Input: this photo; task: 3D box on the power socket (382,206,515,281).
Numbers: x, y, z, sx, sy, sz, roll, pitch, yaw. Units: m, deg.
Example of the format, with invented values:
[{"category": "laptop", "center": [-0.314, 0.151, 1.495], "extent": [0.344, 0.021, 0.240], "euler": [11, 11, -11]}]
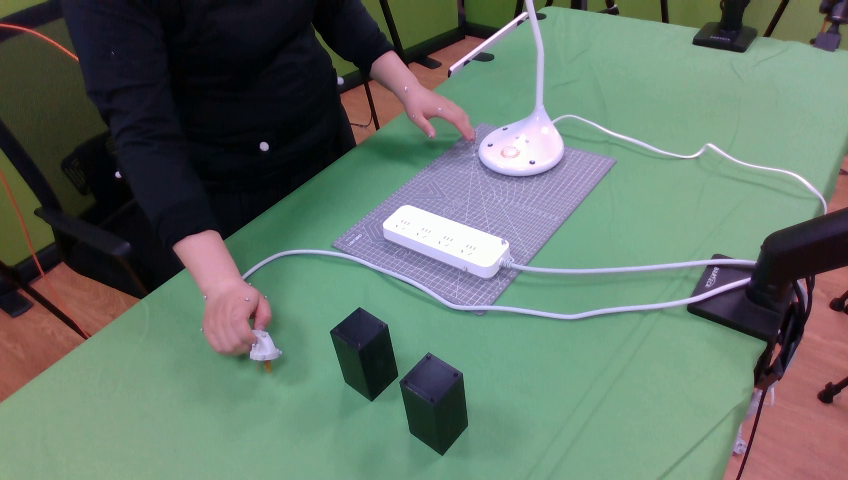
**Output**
[{"category": "power socket", "center": [0.032, 0.002, 0.950], "extent": [0.225, 0.033, 0.072], "euler": [21, 49, 29]}]

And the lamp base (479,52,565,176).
[{"category": "lamp base", "center": [0.182, -0.235, 1.093], "extent": [0.159, 0.181, 0.179], "euler": [18, 44, 27]}]

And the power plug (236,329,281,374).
[{"category": "power plug", "center": [-0.214, 0.143, 0.787], "extent": [0.035, 0.052, 0.072], "euler": [-3, 6, -40]}]
